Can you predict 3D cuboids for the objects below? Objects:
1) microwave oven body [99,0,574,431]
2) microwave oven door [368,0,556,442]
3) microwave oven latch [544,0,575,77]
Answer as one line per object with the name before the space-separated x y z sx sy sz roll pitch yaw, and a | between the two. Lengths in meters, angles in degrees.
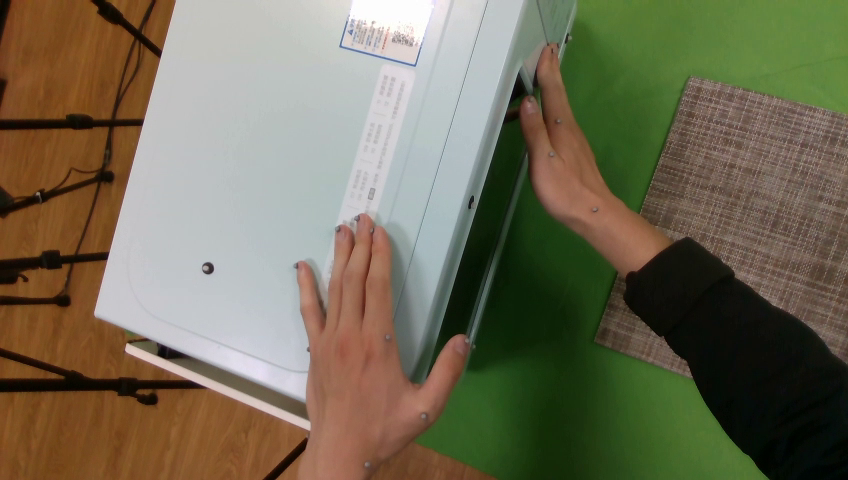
microwave oven body | -0.074 -0.094 0.607 0.324 0.261 0.442 17 94 15
microwave oven door | 0.047 -0.013 0.566 0.039 0.245 0.356 17 94 17
microwave oven latch | 0.140 -0.218 0.648 0.030 0.029 0.079 17 94 15
